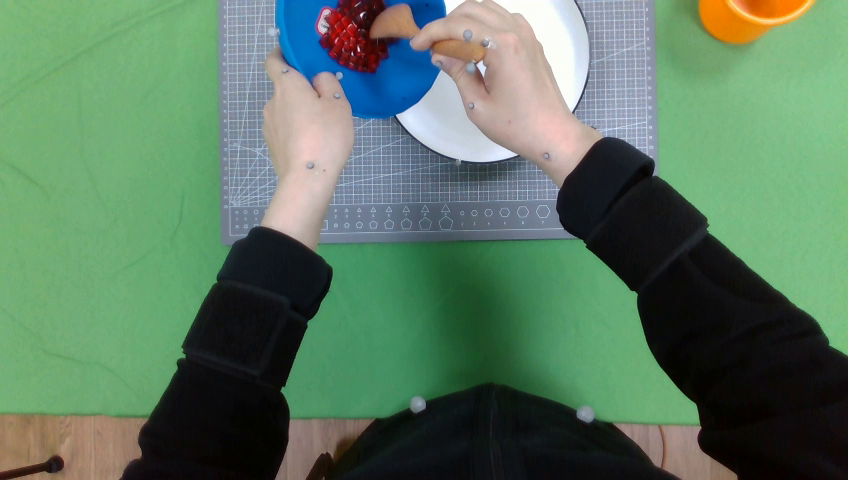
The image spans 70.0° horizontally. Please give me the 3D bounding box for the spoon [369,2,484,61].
[{"bbox_3d":[0.000,-0.154,0.452,0.041,0.191,0.022,-40,128,-3],"label":"spoon"}]

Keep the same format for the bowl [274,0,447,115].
[{"bbox_3d":[-0.064,-0.183,0.512,0.152,0.076,0.152,-8,105,-33],"label":"bowl"}]

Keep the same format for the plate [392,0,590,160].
[{"bbox_3d":[0.058,-0.182,0.605,0.209,0.038,0.209,0,89,4],"label":"plate"}]
